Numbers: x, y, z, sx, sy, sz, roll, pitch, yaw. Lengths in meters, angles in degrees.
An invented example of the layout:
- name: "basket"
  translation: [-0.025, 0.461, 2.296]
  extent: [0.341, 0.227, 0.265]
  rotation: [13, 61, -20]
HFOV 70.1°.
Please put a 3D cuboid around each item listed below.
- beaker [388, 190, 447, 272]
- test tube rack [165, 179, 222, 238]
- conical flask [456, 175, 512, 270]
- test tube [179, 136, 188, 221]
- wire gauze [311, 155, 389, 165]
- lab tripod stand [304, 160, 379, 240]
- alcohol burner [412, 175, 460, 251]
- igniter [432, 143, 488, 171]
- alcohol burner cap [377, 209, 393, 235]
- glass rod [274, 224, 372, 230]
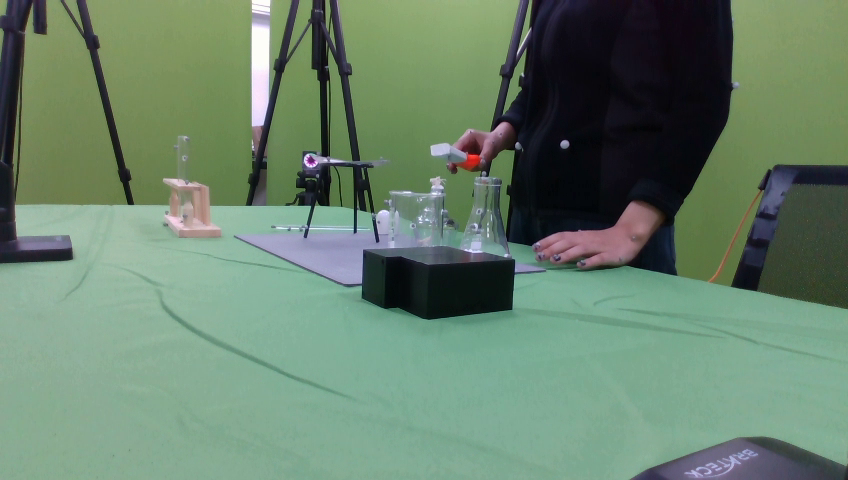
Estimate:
- name: "beaker"
  translation: [-0.010, -0.013, 0.771]
  extent: [0.074, 0.100, 0.084]
  rotation: [3, 7, 4]
- name: "test tube rack"
  translation: [-0.423, -0.062, 1.098]
  extent: [0.067, 0.085, 0.241]
  rotation: [-2, 9, -28]
- name: "conical flask"
  translation: [0.083, -0.025, 0.801]
  extent: [0.075, 0.122, 0.075]
  rotation: [2, 7, 0]
- name: "test tube"
  translation: [-0.425, -0.108, 1.070]
  extent: [0.017, 0.150, 0.017]
  rotation: [4, 9, 0]
- name: "wire gauze"
  translation: [-0.128, -0.137, 1.042]
  extent: [0.122, 0.011, 0.124]
  rotation: [1, 8, -18]
- name: "lab tripod stand"
  translation: [-0.131, -0.071, 1.046]
  extent: [0.148, 0.131, 0.148]
  rotation: [4, 7, 0]
- name: "alcohol burner"
  translation: [0.020, -0.043, 0.958]
  extent: [0.078, 0.119, 0.078]
  rotation: [4, 9, 0]
- name: "igniter"
  translation: [0.069, -0.149, 1.093]
  extent: [0.057, 0.025, 0.277]
  rotation: [-5, 0, 18]
- name: "alcohol burner cap"
  translation: [-0.076, -0.035, 1.145]
  extent: [0.034, 0.048, 0.034]
  rotation: [2, 7, 0]
- name: "glass rod"
  translation: [-0.193, -0.024, 1.176]
  extent: [0.201, 0.008, 0.008]
  rotation: [1, 6, -31]
